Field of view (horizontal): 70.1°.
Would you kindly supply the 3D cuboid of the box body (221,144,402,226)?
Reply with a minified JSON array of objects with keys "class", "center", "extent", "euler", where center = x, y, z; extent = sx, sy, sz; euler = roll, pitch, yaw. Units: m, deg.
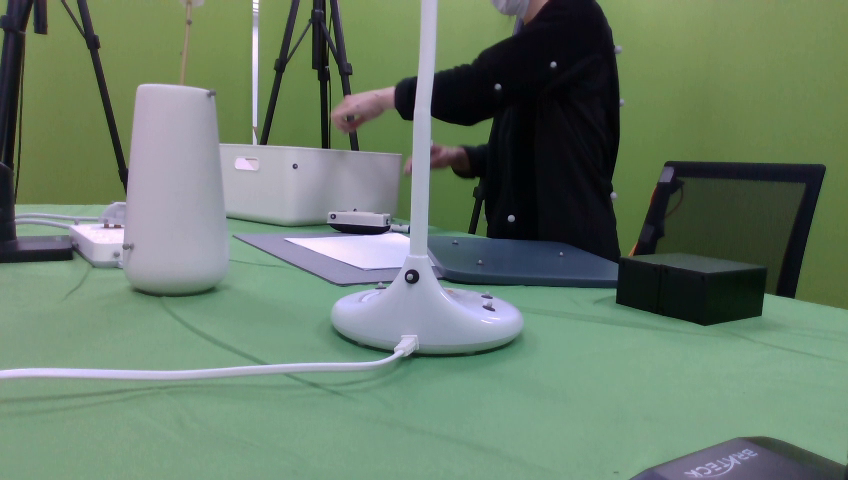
[{"class":"box body","center":[-0.254,-0.128,1.379],"extent":[0.253,0.160,0.366],"euler":[8,9,36]}]

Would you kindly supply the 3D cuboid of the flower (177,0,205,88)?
[{"class":"flower","center":[-0.243,-0.131,0.609],"extent":[0.044,0.361,0.038],"euler":[-5,-12,12]}]

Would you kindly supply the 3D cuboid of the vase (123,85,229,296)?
[{"class":"vase","center":[-0.244,-0.047,0.598],"extent":[0.098,0.200,0.098],"euler":[3,8,0]}]

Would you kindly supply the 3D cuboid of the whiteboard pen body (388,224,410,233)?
[{"class":"whiteboard pen body","center":[-0.088,-0.026,1.214],"extent":[0.140,0.017,0.017],"euler":[5,8,18]}]

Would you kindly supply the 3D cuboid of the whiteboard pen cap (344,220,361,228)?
[{"class":"whiteboard pen cap","center":[-0.144,-0.032,1.230],"extent":[0.033,0.018,0.018],"euler":[6,8,17]}]

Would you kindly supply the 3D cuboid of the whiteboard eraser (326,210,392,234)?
[{"class":"whiteboard eraser","center":[-0.121,-0.033,1.131],"extent":[0.112,0.042,0.056],"euler":[4,8,13]}]

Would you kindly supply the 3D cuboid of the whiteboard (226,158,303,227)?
[{"class":"whiteboard","center":[-0.265,-0.117,1.373],"extent":[0.216,0.143,0.307],"euler":[5,8,36]}]

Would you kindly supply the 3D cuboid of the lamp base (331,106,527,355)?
[{"class":"lamp base","center":[0.006,-0.012,0.478],"extent":[0.161,0.180,0.179],"euler":[2,10,2]}]

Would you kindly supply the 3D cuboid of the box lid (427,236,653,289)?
[{"class":"box lid","center":[0.139,0.028,0.886],"extent":[0.264,0.015,0.371],"euler":[2,7,-6]}]

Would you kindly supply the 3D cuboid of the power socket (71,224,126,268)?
[{"class":"power socket","center":[-0.409,0.004,0.793],"extent":[0.072,0.032,0.225],"euler":[-2,8,-37]}]

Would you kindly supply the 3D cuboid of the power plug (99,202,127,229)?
[{"class":"power plug","center":[-0.415,-0.026,0.848],"extent":[0.073,0.052,0.035],"euler":[6,5,-28]}]
